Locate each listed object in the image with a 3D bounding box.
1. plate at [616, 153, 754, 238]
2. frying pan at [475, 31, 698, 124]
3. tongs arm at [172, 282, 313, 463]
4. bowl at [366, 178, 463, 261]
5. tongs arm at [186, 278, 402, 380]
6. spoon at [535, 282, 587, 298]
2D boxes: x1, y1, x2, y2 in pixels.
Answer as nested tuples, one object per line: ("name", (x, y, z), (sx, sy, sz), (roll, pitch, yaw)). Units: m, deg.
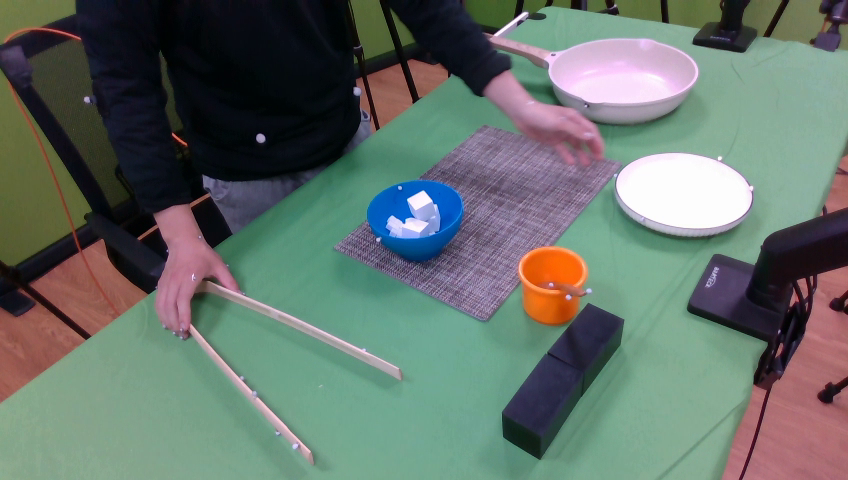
("plate", (0.416, -0.069, 0.977), (0.207, 0.039, 0.206), (-4, 40, 4))
("frying pan", (0.320, -0.371, 1.290), (0.485, 0.103, 0.307), (28, 50, 23))
("tongs arm", (-0.246, 0.160, 0.806), (0.381, 0.026, 0.051), (29, 52, 36))
("bowl", (-0.011, -0.021, 0.945), (0.151, 0.077, 0.150), (-4, 41, 4))
("tongs arm", (-0.194, 0.119, 0.852), (0.385, 0.028, 0.028), (18, 50, 27))
("spoon", (0.176, 0.063, 0.774), (0.041, 0.194, 0.021), (-3, 85, 1))
